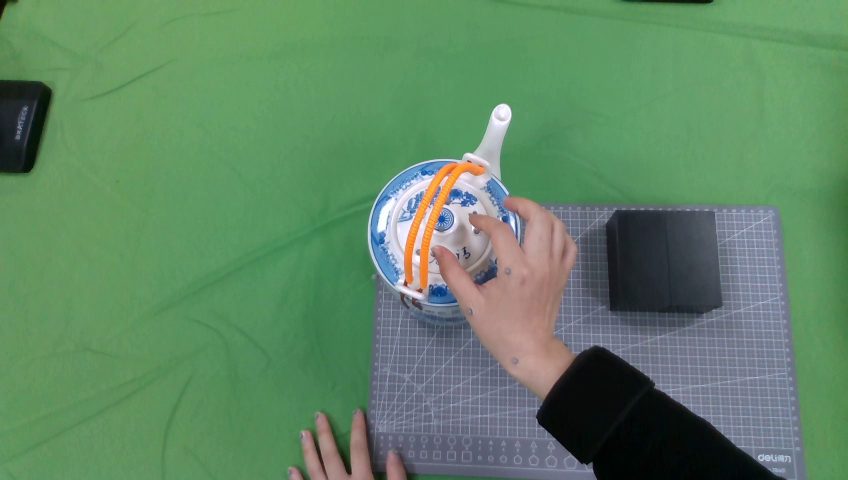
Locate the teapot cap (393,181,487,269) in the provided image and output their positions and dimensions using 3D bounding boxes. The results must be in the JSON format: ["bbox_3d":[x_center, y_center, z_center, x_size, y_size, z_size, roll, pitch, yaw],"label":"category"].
[{"bbox_3d":[0.014,-0.015,0.541,0.085,0.044,0.084,-1,73,5],"label":"teapot cap"}]

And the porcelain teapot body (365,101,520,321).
[{"bbox_3d":[0.030,-0.031,0.585,0.145,0.226,0.205,23,78,9],"label":"porcelain teapot body"}]
